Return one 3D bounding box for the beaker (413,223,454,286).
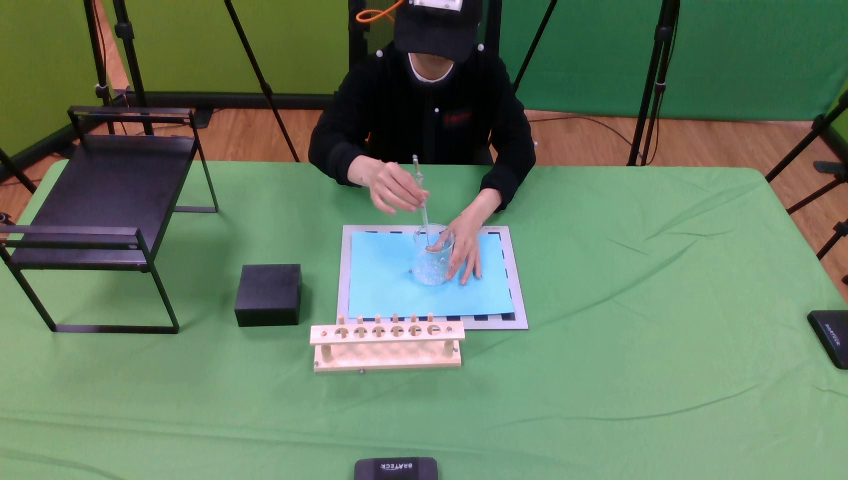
[{"bbox_3d":[0.018,0.028,1.109,0.073,0.101,0.084,37,54,28],"label":"beaker"}]

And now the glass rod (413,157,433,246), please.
[{"bbox_3d":[0.001,-0.058,1.002,0.008,0.201,0.008,-6,46,6],"label":"glass rod"}]

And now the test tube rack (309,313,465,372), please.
[{"bbox_3d":[-0.059,0.161,0.990,0.242,0.085,0.066,-1,46,-5],"label":"test tube rack"}]
